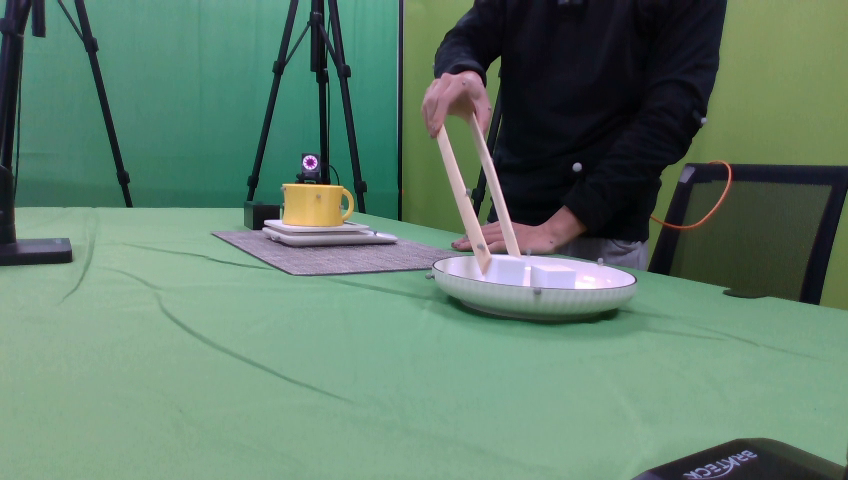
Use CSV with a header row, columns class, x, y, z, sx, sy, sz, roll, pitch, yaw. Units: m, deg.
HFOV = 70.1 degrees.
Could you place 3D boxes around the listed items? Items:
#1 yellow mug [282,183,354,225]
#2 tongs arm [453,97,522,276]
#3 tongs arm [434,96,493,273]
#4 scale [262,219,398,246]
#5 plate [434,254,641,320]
class,x,y,z,sx,sy,sz,roll,pitch,yaw
yellow mug,-0.172,-0.061,1.009,0.131,0.064,0.099,-2,8,-42
tongs arm,0.076,-0.088,0.767,0.028,0.028,0.386,3,37,-9
tongs arm,0.053,-0.090,0.763,0.051,0.026,0.383,3,37,-14
scale,-0.160,-0.016,1.028,0.202,0.031,0.148,-2,9,-32
plate,0.114,0.047,0.625,0.208,0.039,0.207,2,7,0
